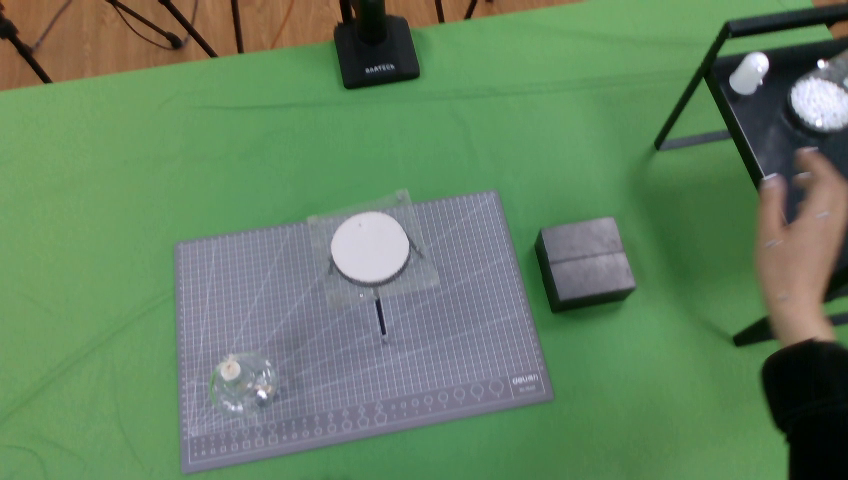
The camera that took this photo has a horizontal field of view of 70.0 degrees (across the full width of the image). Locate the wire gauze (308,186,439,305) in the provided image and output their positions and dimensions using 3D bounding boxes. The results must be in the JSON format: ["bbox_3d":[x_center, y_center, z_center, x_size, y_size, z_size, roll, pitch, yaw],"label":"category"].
[{"bbox_3d":[-0.059,0.005,0.677,0.125,0.011,0.120,-14,67,-8],"label":"wire gauze"}]

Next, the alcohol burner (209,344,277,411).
[{"bbox_3d":[-0.211,0.153,0.694,0.078,0.120,0.077,1,64,-2],"label":"alcohol burner"}]

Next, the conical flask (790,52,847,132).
[{"bbox_3d":[0.463,-0.179,0.654,0.075,0.122,0.075,1,66,-1],"label":"conical flask"}]

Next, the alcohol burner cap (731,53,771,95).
[{"bbox_3d":[0.383,-0.195,0.703,0.034,0.048,0.033,0,67,0],"label":"alcohol burner cap"}]

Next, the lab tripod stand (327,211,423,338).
[{"bbox_3d":[-0.058,0.030,0.740,0.148,0.132,0.147,0,64,-1],"label":"lab tripod stand"}]
